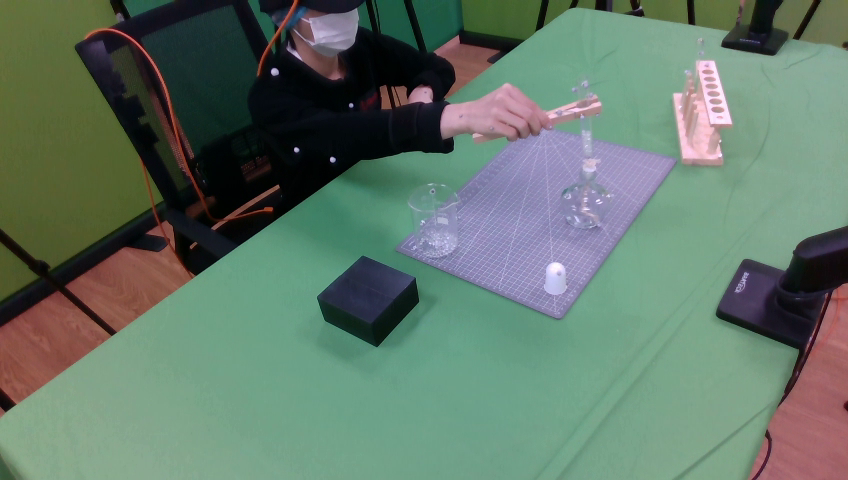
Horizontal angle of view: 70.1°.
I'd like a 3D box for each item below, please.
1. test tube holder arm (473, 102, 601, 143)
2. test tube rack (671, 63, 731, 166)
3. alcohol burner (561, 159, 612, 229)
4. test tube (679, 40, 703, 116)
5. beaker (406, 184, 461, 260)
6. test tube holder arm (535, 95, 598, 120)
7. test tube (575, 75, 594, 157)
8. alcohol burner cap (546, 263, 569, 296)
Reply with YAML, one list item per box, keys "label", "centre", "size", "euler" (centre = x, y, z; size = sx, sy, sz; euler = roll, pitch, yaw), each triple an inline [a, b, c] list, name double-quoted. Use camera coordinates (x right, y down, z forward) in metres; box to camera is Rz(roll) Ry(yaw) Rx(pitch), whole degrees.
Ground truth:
- label: "test tube holder arm"
  centre: [0.156, -0.162, 0.839]
  size: [0.178, 0.015, 0.013]
  euler: [-14, 50, 7]
- label: "test tube rack"
  centre: [0.513, -0.241, 1.132]
  size: [0.066, 0.085, 0.242]
  euler: [4, 41, 14]
- label: "alcohol burner"
  centre: [0.257, -0.077, 0.951]
  size: [0.078, 0.119, 0.077]
  euler: [-3, 40, 3]
- label: "test tube"
  centre: [0.502, -0.303, 1.138]
  size: [0.017, 0.151, 0.017]
  euler: [-3, 40, 3]
- label: "beaker"
  centre: [0.019, -0.026, 0.939]
  size: [0.084, 0.101, 0.074]
  euler: [1, 41, 10]
- label: "test tube holder arm"
  centre: [0.198, -0.179, 0.838]
  size: [0.088, 0.015, 0.010]
  euler: [-20, 50, 2]
- label: "test tube"
  centre: [0.227, -0.170, 0.851]
  size: [0.017, 0.151, 0.017]
  euler: [-9, 53, 13]
- label: "alcohol burner cap"
  centre: [0.191, 0.053, 0.862]
  size: [0.034, 0.048, 0.033]
  euler: [-5, 40, 4]
